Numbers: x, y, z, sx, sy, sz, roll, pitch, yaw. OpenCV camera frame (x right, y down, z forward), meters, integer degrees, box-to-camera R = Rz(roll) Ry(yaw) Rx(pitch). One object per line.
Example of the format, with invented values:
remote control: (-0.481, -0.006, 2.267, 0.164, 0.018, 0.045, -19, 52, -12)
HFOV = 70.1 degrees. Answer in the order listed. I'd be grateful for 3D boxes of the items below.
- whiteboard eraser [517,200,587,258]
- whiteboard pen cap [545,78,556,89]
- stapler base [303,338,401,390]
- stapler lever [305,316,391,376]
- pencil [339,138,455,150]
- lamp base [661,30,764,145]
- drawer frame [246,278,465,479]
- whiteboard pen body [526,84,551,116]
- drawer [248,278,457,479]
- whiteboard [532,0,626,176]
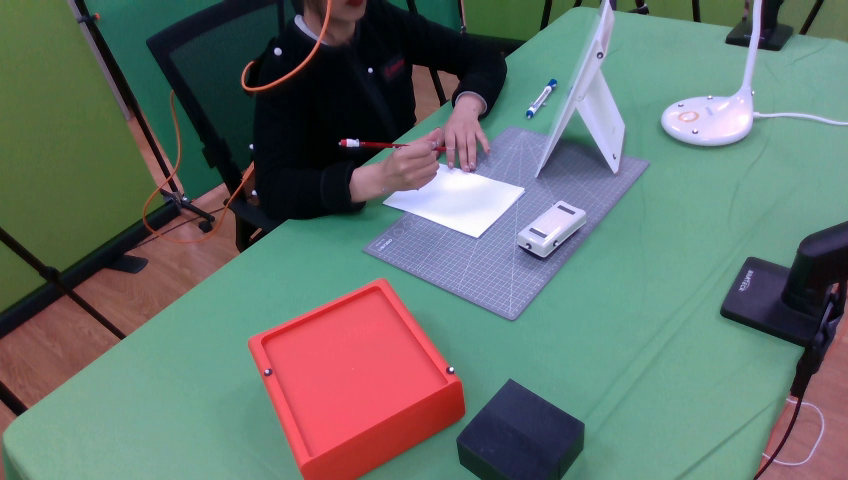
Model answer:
whiteboard eraser: (0.200, -0.016, 0.943, 0.113, 0.042, 0.055, -37, 46, -29)
whiteboard pen cap: (0.280, -0.344, 1.335, 0.018, 0.018, 0.033, 15, 45, 26)
stapler base: (-0.096, 0.159, 0.813, 0.131, 0.024, 0.041, -17, 44, -17)
stapler lever: (-0.099, 0.137, 0.789, 0.118, 0.040, 0.026, -22, 45, -12)
pencil: (-0.041, -0.154, 0.978, 0.195, 0.012, 0.012, 1, 37, -18)
lamp base: (0.535, -0.287, 1.096, 0.179, 0.181, 0.159, -10, 40, -4)
drawer frame: (-0.088, 0.168, 0.753, 0.202, 0.083, 0.211, -24, 43, -18)
whiteboard pen body: (0.251, -0.305, 1.298, 0.017, 0.017, 0.141, 15, 45, 26)
drawer: (-0.092, 0.168, 0.756, 0.195, 0.073, 0.210, -24, 43, -18)
whiteboard: (0.321, -0.258, 1.050, 0.144, 0.306, 0.217, 22, 45, 5)
